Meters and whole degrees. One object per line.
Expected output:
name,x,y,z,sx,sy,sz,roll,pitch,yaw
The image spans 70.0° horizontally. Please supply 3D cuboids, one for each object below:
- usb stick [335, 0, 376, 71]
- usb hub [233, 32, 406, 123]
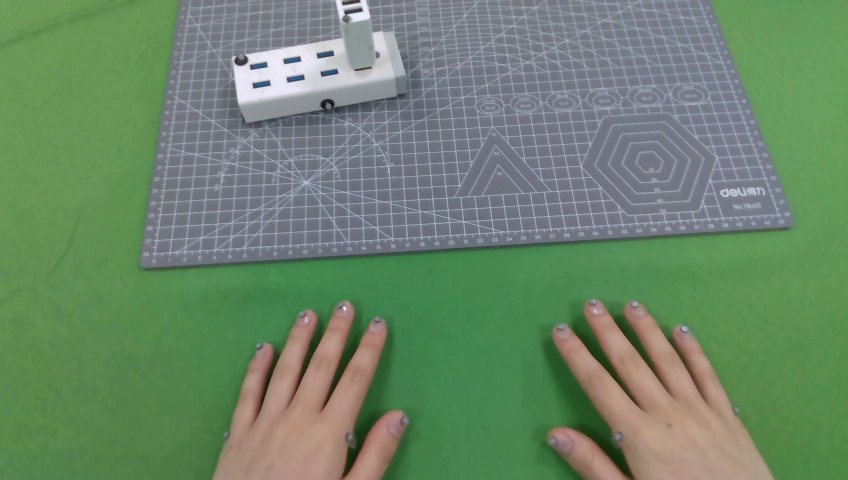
usb stick,-0.048,-0.143,0.437,0.021,0.059,0.027,-14,61,-6
usb hub,-0.079,-0.126,0.463,0.125,0.025,0.049,-11,64,-6
